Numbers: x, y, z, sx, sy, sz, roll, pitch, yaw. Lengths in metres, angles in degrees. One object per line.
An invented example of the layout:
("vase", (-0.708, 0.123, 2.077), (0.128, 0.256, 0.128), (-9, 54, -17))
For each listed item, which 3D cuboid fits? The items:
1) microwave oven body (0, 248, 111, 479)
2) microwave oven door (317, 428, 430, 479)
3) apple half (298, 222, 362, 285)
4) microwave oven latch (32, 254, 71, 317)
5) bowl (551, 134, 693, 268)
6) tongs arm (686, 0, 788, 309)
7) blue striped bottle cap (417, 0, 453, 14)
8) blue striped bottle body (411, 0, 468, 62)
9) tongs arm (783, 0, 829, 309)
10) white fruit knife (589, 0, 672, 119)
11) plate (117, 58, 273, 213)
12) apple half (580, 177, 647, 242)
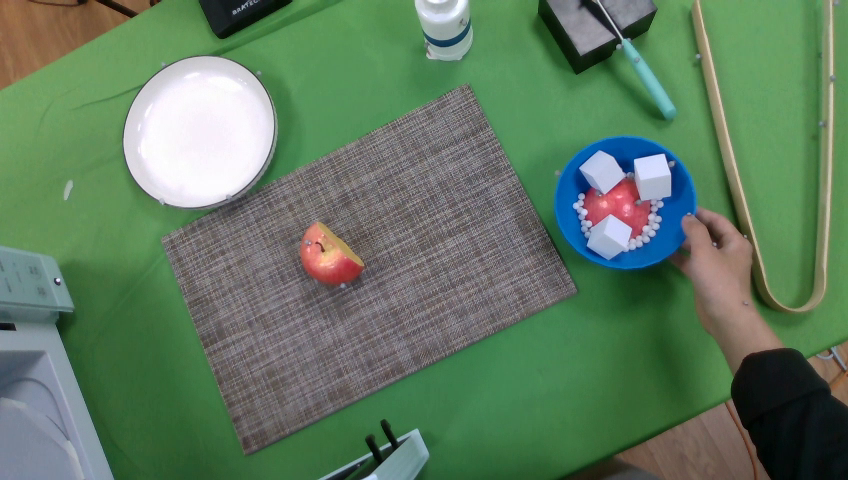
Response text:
("microwave oven body", (-0.545, 0.265, 0.648), (0.326, 0.261, 0.439), (-28, 79, 1))
("microwave oven door", (-0.171, 0.297, 0.593), (0.356, 0.245, 0.039), (-28, 78, 2))
("apple half", (-0.119, 0.024, 0.729), (0.080, 0.075, 0.053), (43, 94, 8))
("microwave oven latch", (-0.483, 0.058, 0.772), (0.030, 0.029, 0.079), (-28, 79, 1))
("bowl", (0.220, -0.037, 0.697), (0.151, 0.077, 0.151), (-1, 81, 8))
("tongs arm", (0.361, -0.108, 0.715), (0.028, 0.028, 0.386), (-10, 80, 3))
("blue striped bottle cap", (0.012, -0.281, 0.687), (0.044, 0.021, 0.044), (-1, 83, 6))
("blue striped bottle body", (0.019, -0.272, 0.737), (0.063, 0.121, 0.063), (-1, 80, 7))
("tongs arm", (0.441, -0.111, 0.702), (0.050, 0.026, 0.383), (3, 82, 8))
("white fruit knife", (0.234, -0.230, 0.720), (0.016, 0.027, 0.208), (-35, 95, 18))
("plate", (-0.296, -0.134, 0.798), (0.207, 0.039, 0.207), (-1, 81, 6))
("apple half", (0.220, -0.037, 0.693), (0.081, 0.033, 0.081), (-1, 81, 9))
